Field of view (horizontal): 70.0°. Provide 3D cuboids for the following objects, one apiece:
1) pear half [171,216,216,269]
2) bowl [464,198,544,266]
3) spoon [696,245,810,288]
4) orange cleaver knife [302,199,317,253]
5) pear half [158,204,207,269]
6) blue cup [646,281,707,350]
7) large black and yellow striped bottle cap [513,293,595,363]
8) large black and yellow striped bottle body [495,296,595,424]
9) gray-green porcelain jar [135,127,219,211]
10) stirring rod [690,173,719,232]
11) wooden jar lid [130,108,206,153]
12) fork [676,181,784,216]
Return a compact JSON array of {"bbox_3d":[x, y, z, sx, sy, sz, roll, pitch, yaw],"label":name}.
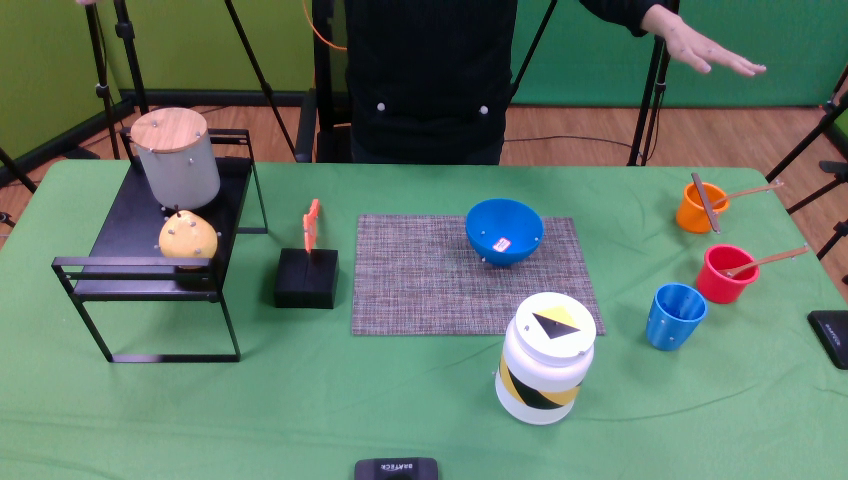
[{"bbox_3d":[-0.323,0.007,0.867,0.031,0.088,0.070,25,46,20],"label":"pear half"},{"bbox_3d":[0.149,-0.004,1.168,0.151,0.077,0.150,2,46,-2],"label":"bowl"},{"bbox_3d":[0.601,0.047,1.114,0.193,0.022,0.041,-27,36,33],"label":"spoon"},{"bbox_3d":[-0.219,-0.031,1.168,0.012,0.077,0.210,-5,17,-3],"label":"orange cleaver knife"},{"bbox_3d":[-0.352,-0.015,0.873,0.056,0.110,0.076,25,45,19],"label":"pear half"},{"bbox_3d":[0.425,0.136,1.042,0.092,0.101,0.092,1,44,-1],"label":"blue cup"},{"bbox_3d":[0.186,0.123,0.863,0.115,0.019,0.114,3,45,-3],"label":"large black and yellow striped bottle cap"},{"bbox_3d":[0.183,0.182,0.923,0.131,0.185,0.130,2,46,-2],"label":"large black and yellow striped bottle body"},{"bbox_3d":[-0.386,-0.118,0.959,0.106,0.127,0.105,2,46,-2],"label":"gray-green porcelain jar"},{"bbox_3d":[0.566,-0.080,1.225,0.014,0.006,0.175,2,46,2],"label":"stirring rod"},{"bbox_3d":[-0.384,-0.162,0.914,0.108,0.021,0.107,4,46,-4],"label":"wooden jar lid"},{"bbox_3d":[0.618,-0.084,1.235,0.207,0.019,0.028,-23,21,38],"label":"fork"}]
